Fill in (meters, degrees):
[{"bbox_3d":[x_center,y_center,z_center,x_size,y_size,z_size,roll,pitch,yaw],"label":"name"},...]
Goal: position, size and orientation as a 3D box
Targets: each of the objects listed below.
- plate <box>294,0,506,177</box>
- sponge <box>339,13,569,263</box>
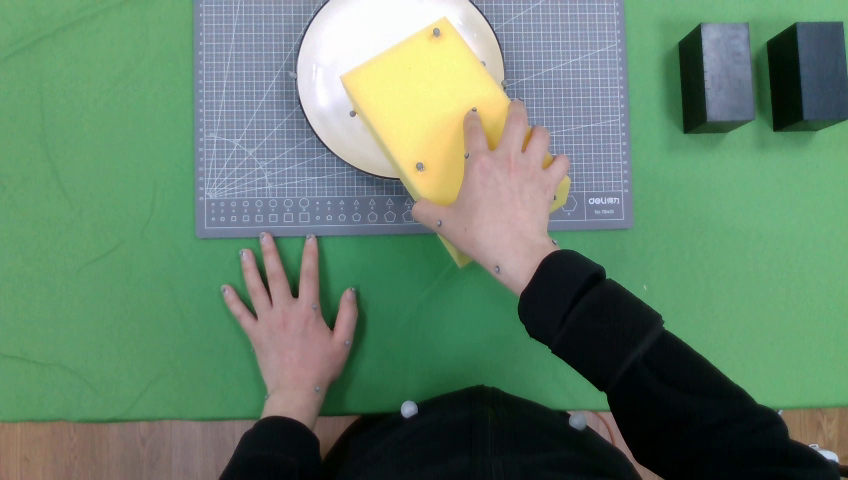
[{"bbox_3d":[-0.023,-0.164,0.613,0.209,0.038,0.208,0,87,-3],"label":"plate"},{"bbox_3d":[0.025,-0.097,0.567,0.118,0.061,0.205,-32,73,-5],"label":"sponge"}]
